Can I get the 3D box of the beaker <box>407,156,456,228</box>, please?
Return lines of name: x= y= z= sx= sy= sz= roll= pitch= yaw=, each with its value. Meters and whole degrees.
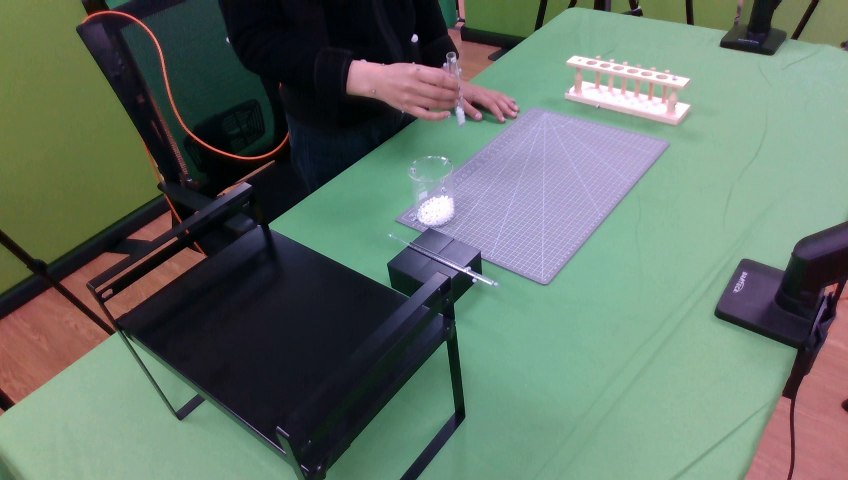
beaker: x=0.016 y=-0.079 z=1.002 sx=0.073 sy=0.101 sz=0.084 roll=26 pitch=49 yaw=33

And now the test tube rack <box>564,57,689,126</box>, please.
test tube rack: x=0.411 y=-0.311 z=1.230 sx=0.240 sy=0.085 sz=0.067 roll=23 pitch=49 yaw=32

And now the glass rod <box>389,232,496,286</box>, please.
glass rod: x=0.022 y=0.025 z=0.878 sx=0.198 sy=0.008 sz=0.008 roll=25 pitch=50 yaw=33

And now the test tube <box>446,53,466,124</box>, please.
test tube: x=0.054 y=-0.248 z=1.002 sx=0.017 sy=0.151 sz=0.017 roll=-5 pitch=57 yaw=8
